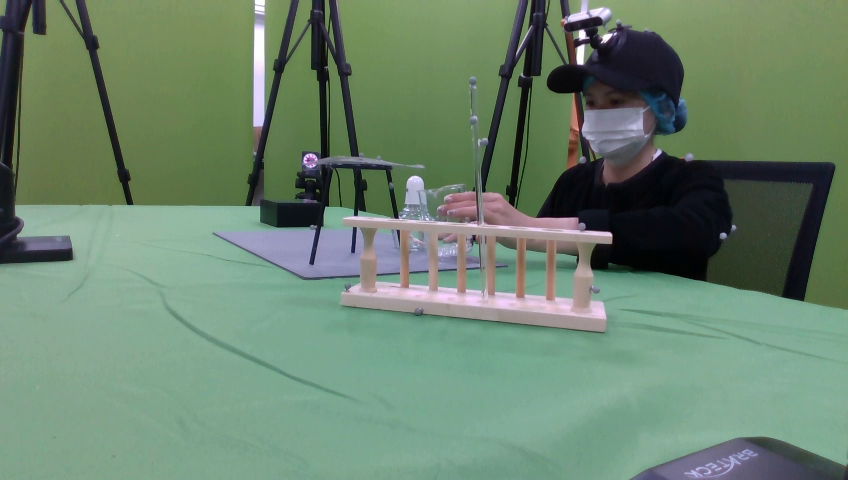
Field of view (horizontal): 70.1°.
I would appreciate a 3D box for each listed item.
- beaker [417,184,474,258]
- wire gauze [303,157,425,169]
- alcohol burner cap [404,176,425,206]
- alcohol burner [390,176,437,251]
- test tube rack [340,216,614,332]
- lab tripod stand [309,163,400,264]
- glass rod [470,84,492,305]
[{"bbox_3d":[0.032,-0.026,0.871,0.074,0.100,0.084,-8,3,17],"label":"beaker"},{"bbox_3d":[-0.082,-0.102,0.799,0.126,0.011,0.121,-1,7,-30],"label":"wire gauze"},{"bbox_3d":[-0.015,-0.077,0.951,0.034,0.048,0.034,2,4,0],"label":"alcohol burner cap"},{"bbox_3d":[-0.016,-0.042,0.955,0.078,0.119,0.078,4,6,0],"label":"alcohol burner"},{"bbox_3d":[0.048,0.026,0.568,0.242,0.085,0.067,4,8,13],"label":"test tube rack"},{"bbox_3d":[-0.091,-0.037,0.813,0.148,0.131,0.148,1,6,0],"label":"lab tripod stand"},{"bbox_3d":[0.051,-0.036,0.535,0.008,0.199,0.008,-5,10,1],"label":"glass rod"}]
